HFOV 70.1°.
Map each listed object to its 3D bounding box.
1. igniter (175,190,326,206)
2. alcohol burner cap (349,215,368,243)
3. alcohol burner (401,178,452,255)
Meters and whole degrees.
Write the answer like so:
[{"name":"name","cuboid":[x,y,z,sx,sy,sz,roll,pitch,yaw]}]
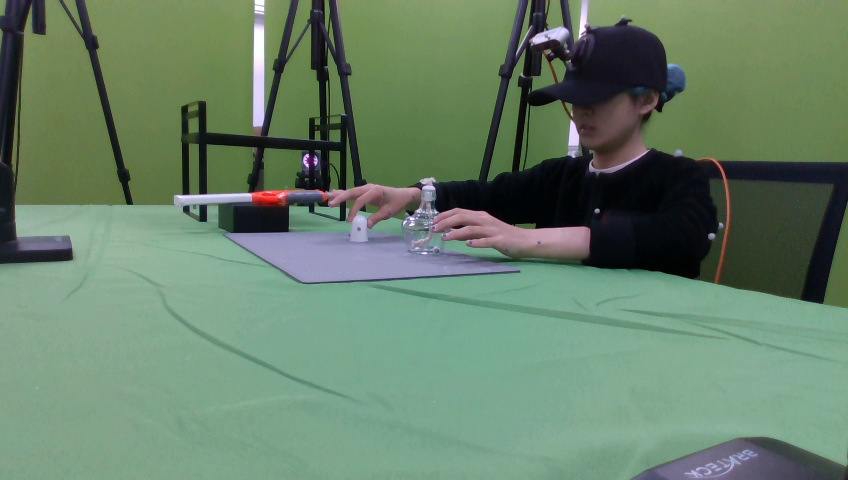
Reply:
[{"name":"igniter","cuboid":[-0.315,-0.079,1.128,0.278,0.025,0.057,-5,13,-34]},{"name":"alcohol burner cap","cuboid":[-0.111,-0.019,1.024,0.034,0.048,0.034,-1,9,0]},{"name":"alcohol burner","cuboid":[0.005,-0.036,0.923,0.078,0.119,0.078,4,7,0]}]
